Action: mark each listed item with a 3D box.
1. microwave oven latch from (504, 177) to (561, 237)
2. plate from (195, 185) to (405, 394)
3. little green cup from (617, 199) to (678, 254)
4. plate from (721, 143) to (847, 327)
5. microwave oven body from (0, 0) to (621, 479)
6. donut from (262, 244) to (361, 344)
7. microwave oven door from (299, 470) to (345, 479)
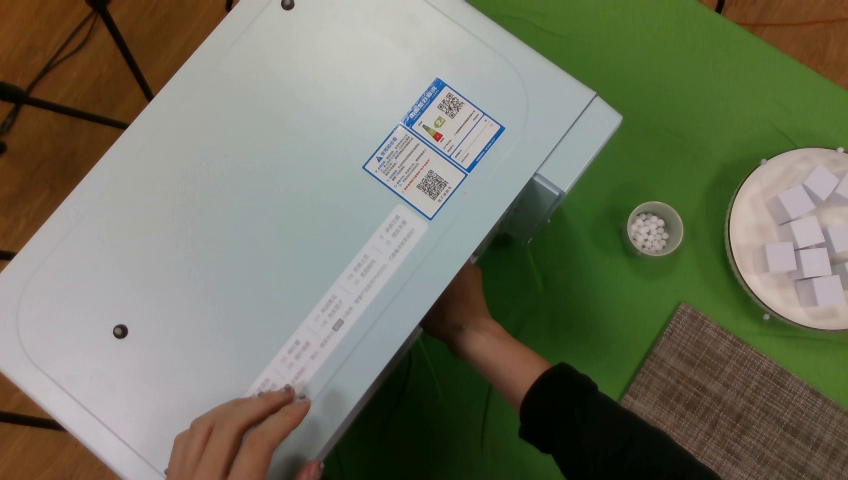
[{"bbox_3d":[0.123,-0.042,0.671,0.030,0.029,0.079,41,84,6],"label":"microwave oven latch"},{"bbox_3d":[-0.123,0.049,0.614,0.209,0.038,0.208,0,81,-1],"label":"plate"},{"bbox_3d":[0.249,-0.012,0.682,0.061,0.039,0.061,0,82,1],"label":"little green cup"},{"bbox_3d":[0.435,-0.005,0.680,0.208,0.039,0.207,0,81,1],"label":"plate"},{"bbox_3d":[-0.105,-0.008,0.571,0.325,0.261,0.441,37,84,6],"label":"microwave oven body"},{"bbox_3d":[-0.110,0.053,0.598,0.099,0.048,0.099,0,84,0],"label":"donut"},{"bbox_3d":[0.041,0.288,0.516,0.356,0.244,0.039,15,81,3],"label":"microwave oven door"}]
